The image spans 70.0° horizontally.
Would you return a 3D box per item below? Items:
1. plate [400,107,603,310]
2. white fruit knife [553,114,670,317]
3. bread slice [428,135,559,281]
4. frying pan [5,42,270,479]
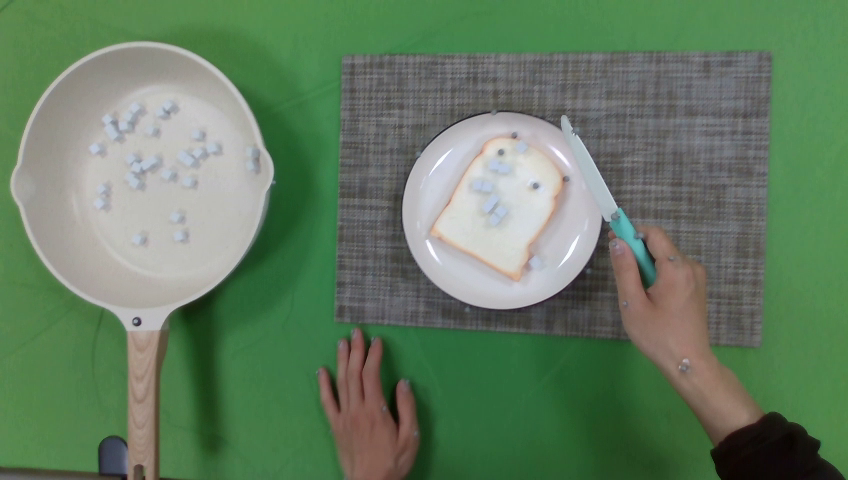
[{"bbox_3d":[0.080,-0.032,0.635,0.207,0.039,0.207,0,91,9],"label":"plate"},{"bbox_3d":[0.167,-0.020,0.539,0.016,0.027,0.208,-35,98,-26],"label":"white fruit knife"},{"bbox_3d":[0.077,-0.040,0.638,0.107,0.018,0.134,26,96,6],"label":"bread slice"},{"bbox_3d":[-0.305,0.037,0.662,0.306,0.103,0.486,-2,82,9],"label":"frying pan"}]
